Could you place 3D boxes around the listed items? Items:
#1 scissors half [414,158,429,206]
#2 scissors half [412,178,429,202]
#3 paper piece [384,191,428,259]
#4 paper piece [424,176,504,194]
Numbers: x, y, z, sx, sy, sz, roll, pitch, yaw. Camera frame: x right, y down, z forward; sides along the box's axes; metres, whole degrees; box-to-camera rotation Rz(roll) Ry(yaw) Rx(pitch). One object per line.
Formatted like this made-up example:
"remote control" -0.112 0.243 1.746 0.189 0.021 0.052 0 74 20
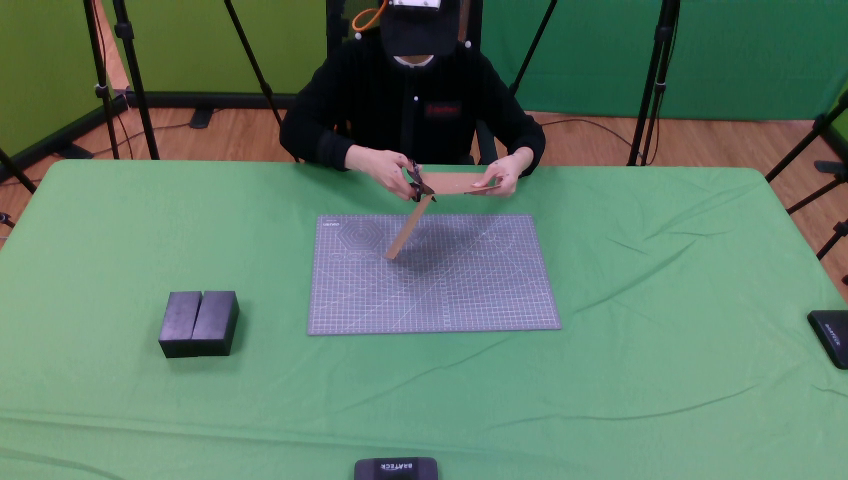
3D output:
"scissors half" -0.002 -0.107 1.120 0.013 0.040 0.174 5 33 -11
"scissors half" -0.005 -0.087 1.129 0.013 0.040 0.174 1 11 -9
"paper piece" -0.033 -0.025 1.111 0.008 0.136 0.138 30 86 -5
"paper piece" 0.065 -0.103 1.130 0.136 0.004 0.135 -5 16 -12
